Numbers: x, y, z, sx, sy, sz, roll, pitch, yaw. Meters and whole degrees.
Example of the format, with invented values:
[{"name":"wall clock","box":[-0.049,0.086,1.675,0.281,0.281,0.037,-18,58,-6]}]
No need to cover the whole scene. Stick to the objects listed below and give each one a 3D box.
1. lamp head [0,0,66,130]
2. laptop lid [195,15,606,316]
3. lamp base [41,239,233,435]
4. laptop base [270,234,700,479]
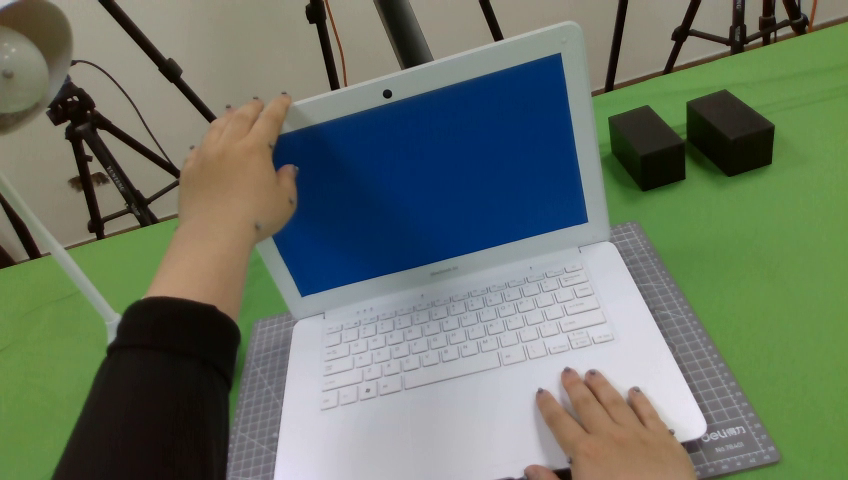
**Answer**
[{"name":"lamp head","box":[-0.344,-0.149,0.429,0.123,0.113,0.112,26,48,1]},{"name":"laptop lid","box":[-0.010,-0.054,0.589,0.356,0.244,0.013,-17,32,6]},{"name":"lamp base","box":[-0.315,0.082,0.619,0.178,0.182,0.160,11,47,37]},{"name":"laptop base","box":[0.033,0.116,0.560,0.354,0.023,0.233,-15,41,5]}]
